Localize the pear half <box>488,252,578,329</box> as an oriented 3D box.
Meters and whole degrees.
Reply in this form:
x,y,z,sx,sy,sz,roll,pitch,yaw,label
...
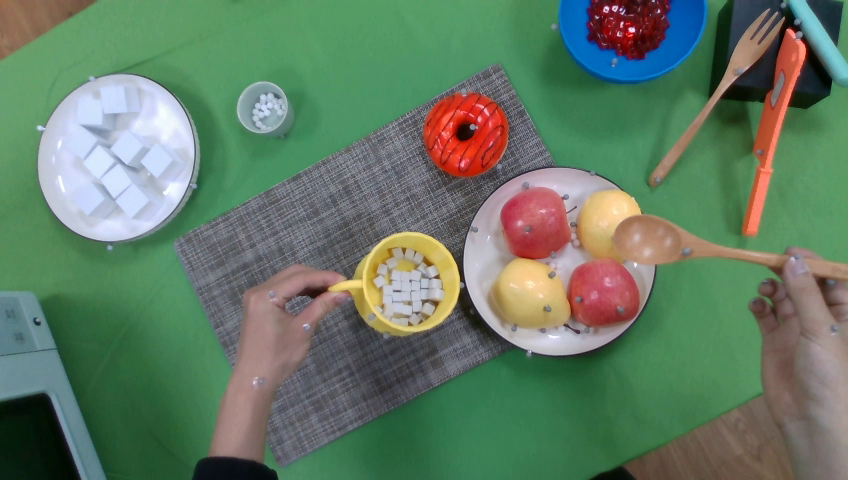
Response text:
x,y,z,sx,sy,sz,roll,pitch,yaw,label
0.125,0.062,0.657,0.110,0.056,0.076,35,96,3,pear half

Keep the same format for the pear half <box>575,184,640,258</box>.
x,y,z,sx,sy,sz,roll,pitch,yaw,label
0.195,-0.016,0.653,0.070,0.031,0.088,3,97,31,pear half

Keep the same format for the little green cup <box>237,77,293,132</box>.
x,y,z,sx,sy,sz,roll,pitch,yaw,label
-0.188,-0.159,0.725,0.061,0.039,0.061,0,86,8,little green cup

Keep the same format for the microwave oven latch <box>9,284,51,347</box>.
x,y,z,sx,sy,sz,roll,pitch,yaw,label
-0.480,0.091,0.727,0.030,0.029,0.079,-24,85,4,microwave oven latch

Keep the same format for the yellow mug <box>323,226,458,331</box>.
x,y,z,sx,sy,sz,roll,pitch,yaw,label
-0.037,0.042,0.617,0.131,0.064,0.099,-3,79,-16,yellow mug

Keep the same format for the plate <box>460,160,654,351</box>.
x,y,z,sx,sy,sz,roll,pitch,yaw,label
0.144,0.017,0.671,0.209,0.038,0.208,0,87,7,plate

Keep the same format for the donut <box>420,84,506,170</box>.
x,y,z,sx,sy,sz,roll,pitch,yaw,label
0.044,-0.128,0.688,0.099,0.048,0.099,0,89,9,donut

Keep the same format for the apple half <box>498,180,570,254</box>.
x,y,z,sx,sy,sz,roll,pitch,yaw,label
0.119,-0.025,0.659,0.074,0.053,0.080,-10,89,7,apple half

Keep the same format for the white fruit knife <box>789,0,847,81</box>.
x,y,z,sx,sy,sz,roll,pitch,yaw,label
0.383,-0.252,0.623,0.027,0.016,0.206,-23,81,-24,white fruit knife

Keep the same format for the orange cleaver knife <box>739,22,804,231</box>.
x,y,z,sx,sy,sz,roll,pitch,yaw,label
0.358,-0.115,0.634,0.012,0.077,0.212,8,113,12,orange cleaver knife

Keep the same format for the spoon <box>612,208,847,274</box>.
x,y,z,sx,sy,sz,roll,pitch,yaw,label
0.247,0.007,0.475,0.193,0.022,0.041,11,85,18,spoon

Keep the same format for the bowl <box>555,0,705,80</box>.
x,y,z,sx,sy,sz,roll,pitch,yaw,label
0.216,-0.240,0.661,0.151,0.077,0.151,0,87,7,bowl

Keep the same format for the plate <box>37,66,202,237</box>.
x,y,z,sx,sy,sz,roll,pitch,yaw,label
-0.368,-0.106,0.744,0.207,0.039,0.207,0,87,7,plate

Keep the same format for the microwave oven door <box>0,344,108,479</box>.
x,y,z,sx,sy,sz,roll,pitch,yaw,label
-0.404,0.283,0.605,0.039,0.244,0.354,-26,84,4,microwave oven door

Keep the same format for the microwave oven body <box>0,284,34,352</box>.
x,y,z,sx,sy,sz,roll,pitch,yaw,label
-0.552,0.307,0.627,0.326,0.261,0.440,-25,84,4,microwave oven body

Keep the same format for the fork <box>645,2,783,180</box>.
x,y,z,sx,sy,sz,roll,pitch,yaw,label
0.299,-0.150,0.640,0.028,0.018,0.208,30,111,0,fork

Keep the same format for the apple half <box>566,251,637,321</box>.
x,y,z,sx,sy,sz,roll,pitch,yaw,label
0.183,0.051,0.646,0.081,0.033,0.081,2,96,29,apple half
